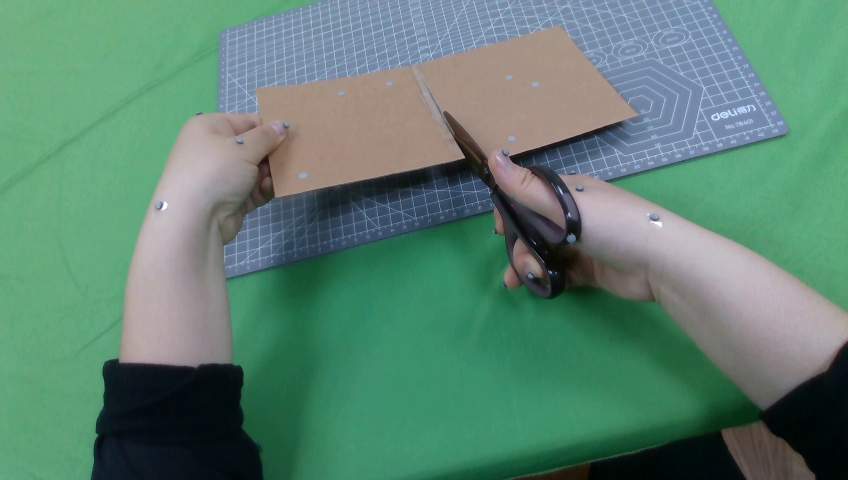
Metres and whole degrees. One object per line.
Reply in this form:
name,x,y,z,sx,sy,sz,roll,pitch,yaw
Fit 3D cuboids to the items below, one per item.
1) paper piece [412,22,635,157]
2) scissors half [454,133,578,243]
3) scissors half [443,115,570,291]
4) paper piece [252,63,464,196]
paper piece,0.074,-0.125,0.484,0.135,0.004,0.134,-17,52,-8
scissors half,0.048,-0.049,0.401,0.013,0.040,0.173,-15,32,-19
scissors half,0.048,-0.033,0.416,0.013,0.040,0.173,-19,57,-15
paper piece,-0.056,-0.091,0.460,0.138,0.009,0.134,-14,44,-9
